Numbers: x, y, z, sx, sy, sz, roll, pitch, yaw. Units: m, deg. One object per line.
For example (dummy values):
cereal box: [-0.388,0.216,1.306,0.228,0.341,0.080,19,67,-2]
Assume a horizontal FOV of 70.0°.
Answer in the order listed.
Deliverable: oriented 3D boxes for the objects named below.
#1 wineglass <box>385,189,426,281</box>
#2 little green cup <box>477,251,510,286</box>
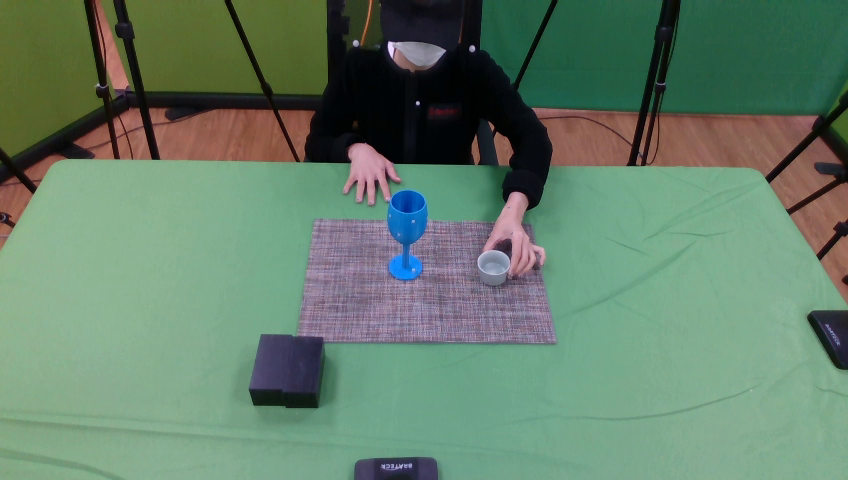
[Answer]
wineglass: [-0.034,-0.006,1.091,0.074,0.173,0.073,2,46,-2]
little green cup: [0.129,0.055,1.135,0.061,0.039,0.061,0,50,1]
